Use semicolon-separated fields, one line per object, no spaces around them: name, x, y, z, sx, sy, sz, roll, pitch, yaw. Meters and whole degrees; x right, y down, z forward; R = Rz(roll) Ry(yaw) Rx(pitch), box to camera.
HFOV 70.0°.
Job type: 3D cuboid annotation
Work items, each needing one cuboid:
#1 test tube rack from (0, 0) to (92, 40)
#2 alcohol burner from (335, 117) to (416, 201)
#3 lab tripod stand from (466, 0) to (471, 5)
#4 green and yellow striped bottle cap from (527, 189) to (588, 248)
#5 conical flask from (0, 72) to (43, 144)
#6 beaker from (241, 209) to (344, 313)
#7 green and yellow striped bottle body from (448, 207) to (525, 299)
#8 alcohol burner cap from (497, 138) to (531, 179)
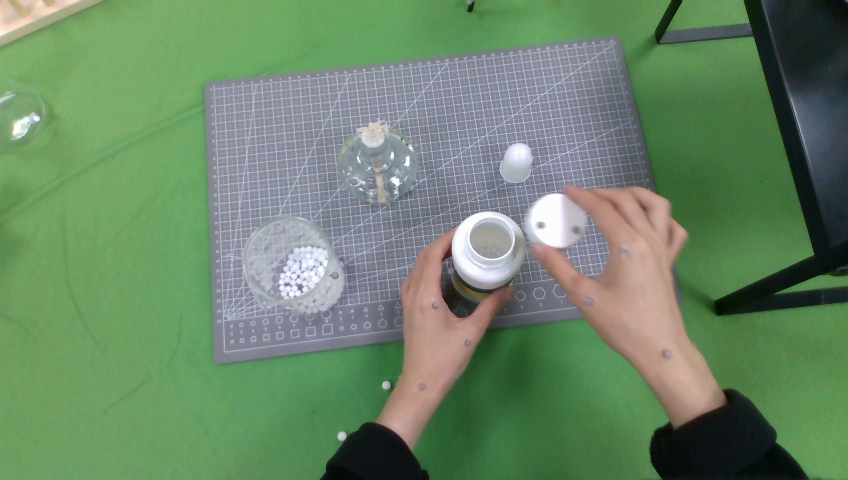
test tube rack;-0.385;-0.309;0.646;0.242;0.085;0.066;-27;76;-7
alcohol burner;-0.046;-0.081;0.566;0.078;0.119;0.077;0;73;-1
lab tripod stand;0.104;-0.324;0.622;0.148;0.132;0.147;0;73;-1
green and yellow striped bottle cap;0.103;-0.017;0.468;0.045;0.020;0.045;1;81;-5
conical flask;-0.440;-0.149;0.585;0.075;0.122;0.075;0;74;1
beaker;-0.114;0.027;0.545;0.074;0.101;0.083;23;77;7
green and yellow striped bottle body;0.053;0.011;0.536;0.063;0.120;0.063;0;74;1
alcohol burner cap;0.091;-0.084;0.602;0.034;0.048;0.033;0;74;0
